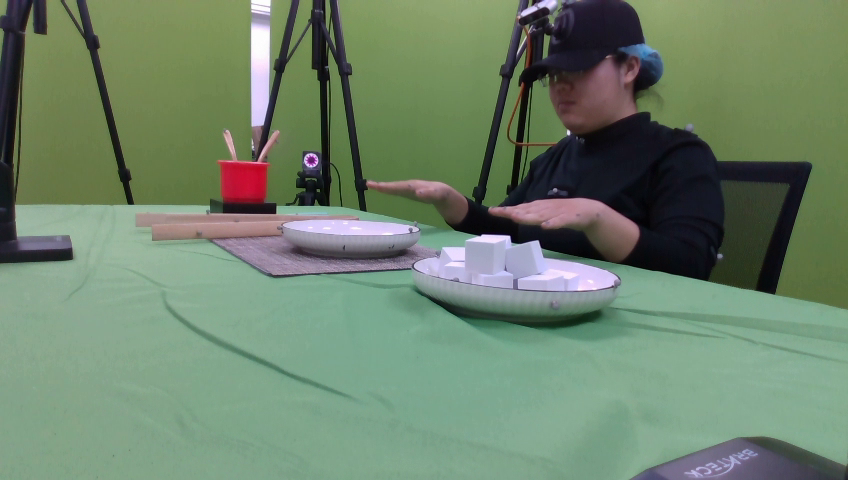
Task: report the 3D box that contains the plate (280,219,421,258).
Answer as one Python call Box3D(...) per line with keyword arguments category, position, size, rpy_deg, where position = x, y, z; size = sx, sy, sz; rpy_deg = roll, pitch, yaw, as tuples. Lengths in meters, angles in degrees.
Box3D(category="plate", position=(-0.108, -0.002, 0.902), size=(0.208, 0.039, 0.207), rpy_deg=(3, 7, 0))

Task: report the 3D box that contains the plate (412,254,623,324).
Box3D(category="plate", position=(0.090, 0.047, 0.609), size=(0.209, 0.038, 0.209), rpy_deg=(2, 7, 0))

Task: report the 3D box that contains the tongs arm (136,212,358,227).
Box3D(category="tongs arm", position=(-0.308, -0.034, 1.100), size=(0.387, 0.026, 0.050), rpy_deg=(-1, 6, -29))

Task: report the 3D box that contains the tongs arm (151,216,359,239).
Box3D(category="tongs arm", position=(-0.264, -0.023, 1.032), size=(0.390, 0.028, 0.028), rpy_deg=(-3, 5, -42))

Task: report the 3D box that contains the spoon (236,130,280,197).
Box3D(category="spoon", position=(-0.321, -0.154, 1.192), size=(0.041, 0.193, 0.022), rpy_deg=(1, -37, 19))

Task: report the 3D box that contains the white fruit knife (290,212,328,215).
Box3D(category="white fruit knife", position=(-0.304, -0.050, 1.328), size=(0.208, 0.016, 0.027), rpy_deg=(-3, -19, -29))

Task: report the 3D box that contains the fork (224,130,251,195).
Box3D(category="fork", position=(-0.372, -0.156, 1.193), size=(0.028, 0.018, 0.206), rpy_deg=(-17, 54, -14))
